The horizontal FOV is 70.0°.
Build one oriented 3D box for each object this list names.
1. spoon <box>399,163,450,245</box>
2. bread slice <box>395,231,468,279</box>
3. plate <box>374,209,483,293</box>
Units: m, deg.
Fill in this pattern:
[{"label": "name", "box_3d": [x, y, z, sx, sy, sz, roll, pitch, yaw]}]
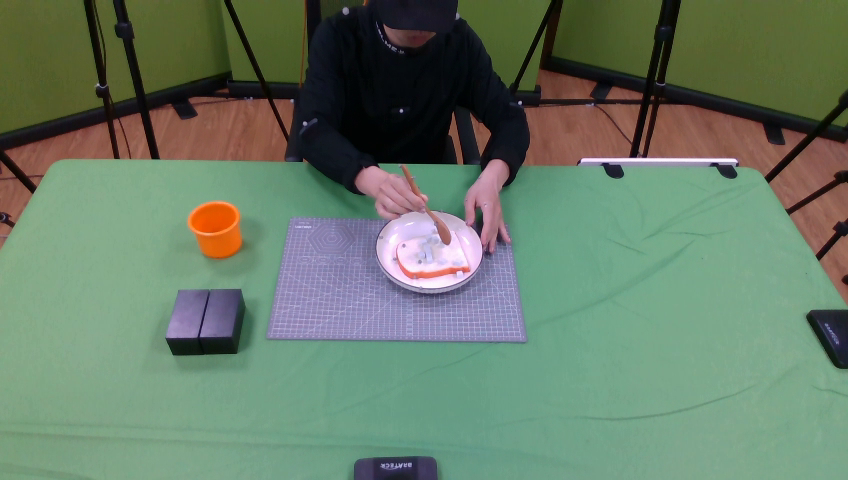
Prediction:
[{"label": "spoon", "box_3d": [0.001, -0.062, 1.095, 0.021, 0.195, 0.041, -46, 38, -13]}, {"label": "bread slice", "box_3d": [0.011, 0.030, 1.159, 0.132, 0.019, 0.104, -8, 47, -14]}, {"label": "plate", "box_3d": [0.009, 0.024, 1.160, 0.209, 0.038, 0.208, 2, 46, -2]}]
